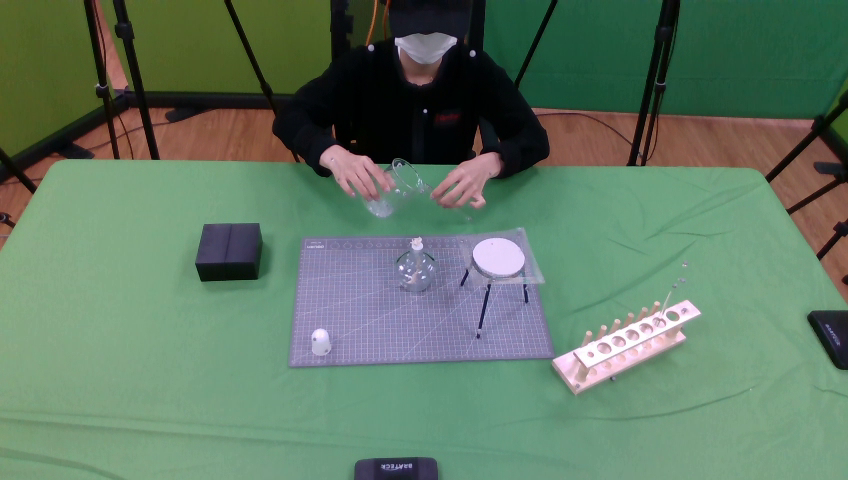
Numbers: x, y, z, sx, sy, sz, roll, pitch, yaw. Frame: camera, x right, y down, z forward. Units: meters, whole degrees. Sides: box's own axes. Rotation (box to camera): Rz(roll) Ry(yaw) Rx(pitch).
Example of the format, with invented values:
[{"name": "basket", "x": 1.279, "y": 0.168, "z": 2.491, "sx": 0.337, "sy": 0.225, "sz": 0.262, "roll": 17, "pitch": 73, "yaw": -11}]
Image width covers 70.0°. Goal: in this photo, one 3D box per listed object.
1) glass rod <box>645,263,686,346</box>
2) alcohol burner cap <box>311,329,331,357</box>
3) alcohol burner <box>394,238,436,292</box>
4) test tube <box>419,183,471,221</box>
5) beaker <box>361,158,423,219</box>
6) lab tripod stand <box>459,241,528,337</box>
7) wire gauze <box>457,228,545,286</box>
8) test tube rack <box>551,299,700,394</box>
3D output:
[{"name": "glass rod", "x": 0.392, "y": 0.110, "z": 0.986, "sx": 0.008, "sy": 0.201, "sz": 0.008, "roll": 2, "pitch": 42, "yaw": -1}, {"name": "alcohol burner cap", "x": -0.173, "y": 0.168, "z": 1.004, "sx": 0.034, "sy": 0.048, "sz": 0.033, "roll": 2, "pitch": 46, "yaw": -2}, {"name": "alcohol burner", "x": -0.016, "y": 0.038, "z": 1.093, "sx": 0.078, "sy": 0.119, "sz": 0.077, "roll": 2, "pitch": 48, "yaw": -2}, {"name": "test tube", "x": 0.044, "y": -0.073, "z": 1.183, "sx": 0.017, "sy": 0.151, "sz": 0.017, "roll": -23, "pitch": 53, "yaw": 34}, {"name": "beaker", "x": -0.062, "y": -0.093, "z": 1.133, "sx": 0.084, "sy": 0.100, "sz": 0.073, "roll": 28, "pitch": 36, "yaw": -35}, {"name": "lab tripod stand", "x": 0.122, "y": 0.075, "z": 1.054, "sx": 0.148, "sy": 0.132, "sz": 0.147, "roll": 3, "pitch": 44, "yaw": -3}, {"name": "wire gauze", "x": 0.126, "y": 0.029, "z": 1.006, "sx": 0.125, "sy": 0.011, "sz": 0.120, "roll": -4, "pitch": 46, "yaw": -10}, {"name": "test tube rack", "x": 0.339, "y": 0.166, "z": 1.021, "sx": 0.242, "sy": 0.085, "sz": 0.066, "roll": -19, "pitch": 50, "yaw": -21}]
